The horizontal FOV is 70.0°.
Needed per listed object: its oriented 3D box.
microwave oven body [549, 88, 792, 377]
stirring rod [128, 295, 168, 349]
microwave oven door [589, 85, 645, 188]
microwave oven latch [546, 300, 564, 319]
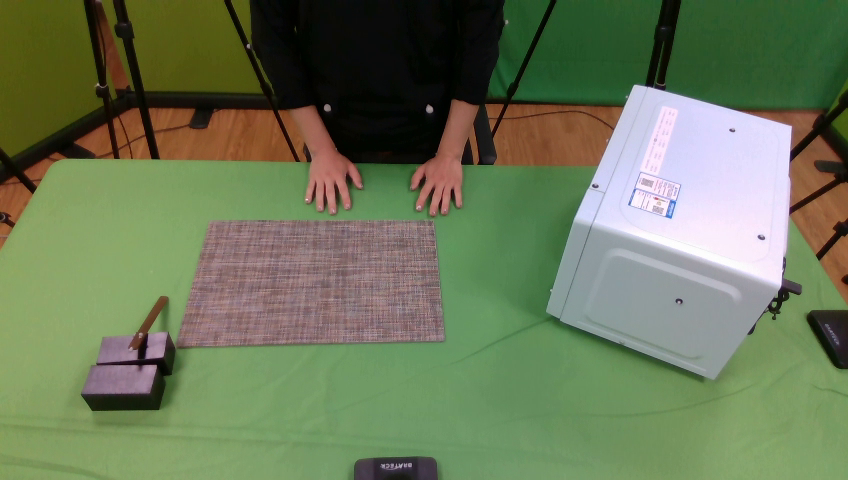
[{"bbox_3d":[0.456,-0.028,1.088,0.325,0.261,0.440,20,47,16],"label":"microwave oven body"},{"bbox_3d":[-0.451,0.131,0.996,0.014,0.006,0.175,9,21,-10],"label":"stirring rod"},{"bbox_3d":[0.342,-0.107,1.149,0.039,0.245,0.354,20,48,15],"label":"microwave oven door"},{"bbox_3d":[0.242,0.102,1.081,0.030,0.029,0.079,21,48,17],"label":"microwave oven latch"}]
